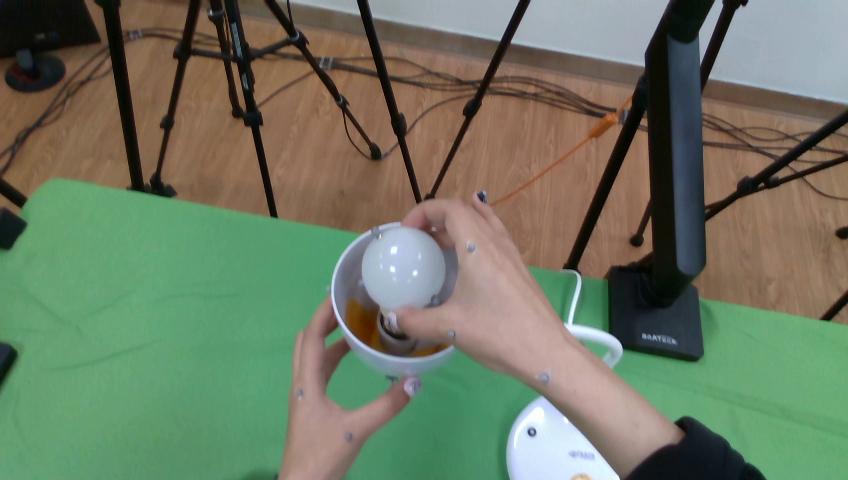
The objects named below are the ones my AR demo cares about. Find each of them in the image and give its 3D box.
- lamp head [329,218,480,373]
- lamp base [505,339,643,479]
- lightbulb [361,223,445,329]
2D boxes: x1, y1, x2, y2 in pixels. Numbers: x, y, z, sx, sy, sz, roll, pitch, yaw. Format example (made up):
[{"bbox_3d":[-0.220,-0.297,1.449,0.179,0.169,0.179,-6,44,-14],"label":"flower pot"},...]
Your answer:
[{"bbox_3d":[-0.013,0.058,0.491,0.112,0.124,0.111,0,62,1],"label":"lamp head"},{"bbox_3d":[0.178,0.193,0.643,0.161,0.181,0.177,-2,55,-7],"label":"lamp base"},{"bbox_3d":[-0.017,0.032,0.450,0.059,0.108,0.059,3,52,-3],"label":"lightbulb"}]
